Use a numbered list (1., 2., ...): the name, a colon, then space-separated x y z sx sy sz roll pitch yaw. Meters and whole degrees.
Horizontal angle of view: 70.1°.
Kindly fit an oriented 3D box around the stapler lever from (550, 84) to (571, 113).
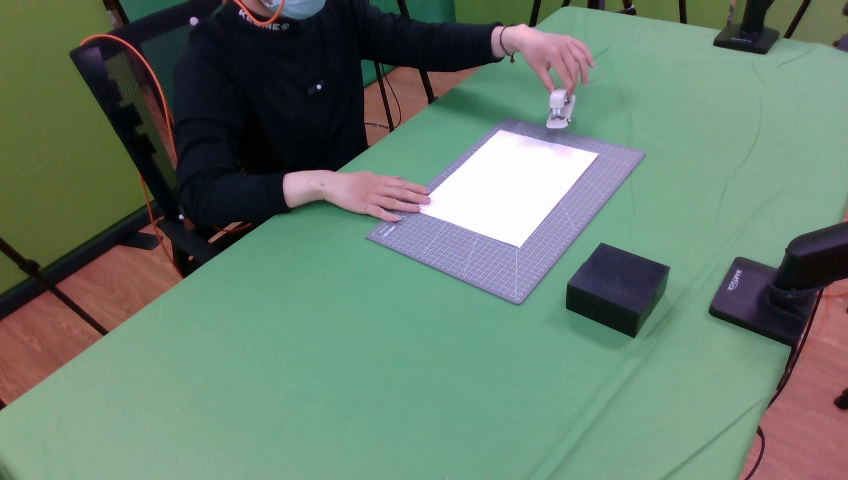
1. stapler lever: 0.263 -0.282 1.165 0.026 0.040 0.118 5 37 18

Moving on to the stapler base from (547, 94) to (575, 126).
1. stapler base: 0.267 -0.261 1.178 0.041 0.024 0.130 5 37 18
